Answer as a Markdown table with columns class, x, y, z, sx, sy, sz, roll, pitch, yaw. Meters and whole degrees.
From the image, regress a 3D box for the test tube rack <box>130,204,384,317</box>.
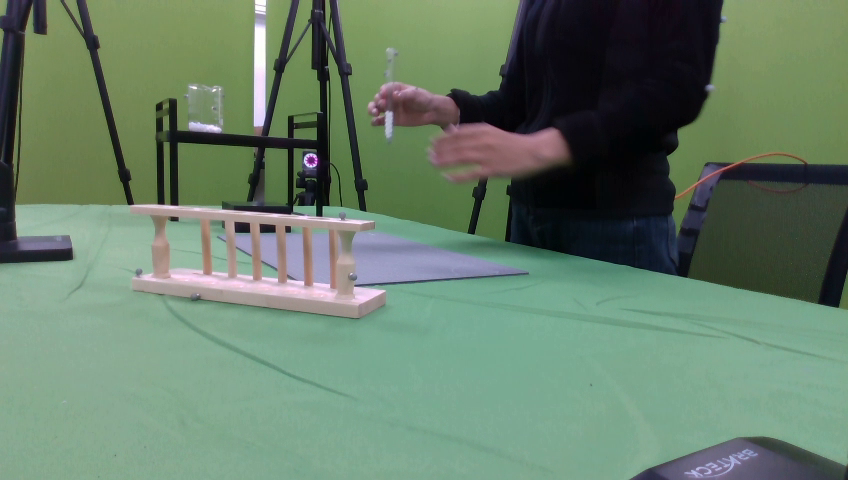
| class | x | y | z | sx | sy | sz | roll | pitch | yaw |
| --- | --- | --- | --- | --- | --- | --- | --- | --- | --- |
| test tube rack | -0.163 | 0.013 | 0.589 | 0.242 | 0.085 | 0.067 | 5 | 8 | 17 |

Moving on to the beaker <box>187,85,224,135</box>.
| class | x | y | z | sx | sy | sz | roll | pitch | yaw |
| --- | --- | --- | --- | --- | --- | --- | --- | --- | --- |
| beaker | -0.466 | -0.276 | 1.296 | 0.074 | 0.100 | 0.083 | -3 | 10 | -35 |

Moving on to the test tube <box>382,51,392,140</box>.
| class | x | y | z | sx | sy | sz | roll | pitch | yaw |
| --- | --- | --- | --- | --- | --- | --- | --- | --- | --- |
| test tube | -0.064 | -0.248 | 1.039 | 0.017 | 0.150 | 0.017 | 0 | 5 | 0 |
